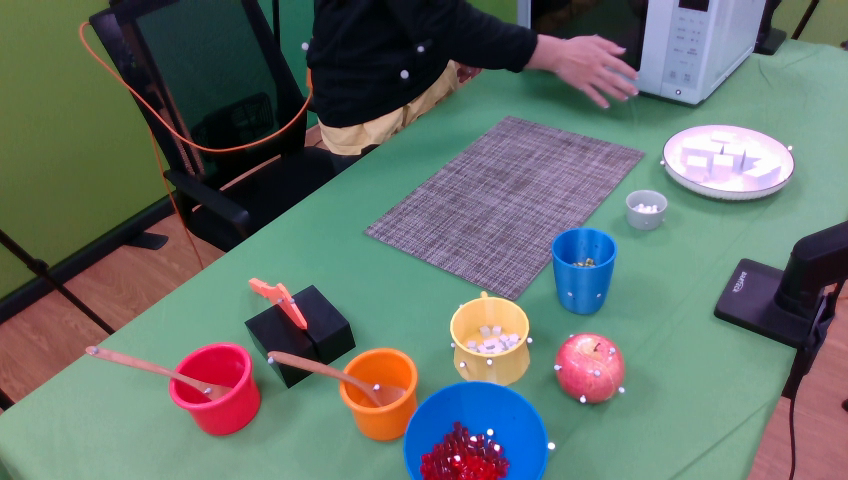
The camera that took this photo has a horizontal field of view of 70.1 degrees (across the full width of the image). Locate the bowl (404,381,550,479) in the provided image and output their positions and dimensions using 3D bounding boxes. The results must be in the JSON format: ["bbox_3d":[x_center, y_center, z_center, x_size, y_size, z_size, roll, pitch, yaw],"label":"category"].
[{"bbox_3d":[0.058,0.235,0.645,0.151,0.077,0.150,-4,39,4],"label":"bowl"}]

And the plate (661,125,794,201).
[{"bbox_3d":[0.513,-0.128,1.035,0.207,0.039,0.206,-4,40,4],"label":"plate"}]

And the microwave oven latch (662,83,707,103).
[{"bbox_3d":[0.517,-0.296,1.204,0.078,0.029,0.030,28,52,35],"label":"microwave oven latch"}]

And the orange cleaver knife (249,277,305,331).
[{"bbox_3d":[-0.210,0.088,0.855,0.012,0.077,0.210,-28,15,-25],"label":"orange cleaver knife"}]

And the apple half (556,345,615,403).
[{"bbox_3d":[0.181,0.167,0.709,0.080,0.081,0.033,29,50,35],"label":"apple half"}]

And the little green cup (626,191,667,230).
[{"bbox_3d":[0.352,-0.046,0.963,0.061,0.039,0.061,-4,40,4],"label":"little green cup"}]

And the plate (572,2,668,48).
[{"bbox_3d":[0.440,-0.482,1.367,0.209,0.038,0.208,-4,41,4],"label":"plate"}]

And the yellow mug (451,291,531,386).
[{"bbox_3d":[0.086,0.120,0.786,0.100,0.064,0.130,-7,39,1],"label":"yellow mug"}]

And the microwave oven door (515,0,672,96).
[{"bbox_3d":[0.344,-0.455,1.260,0.353,0.245,0.039,26,51,33],"label":"microwave oven door"}]

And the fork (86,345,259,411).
[{"bbox_3d":[-0.298,0.166,0.728,0.209,0.018,0.028,28,46,-23],"label":"fork"}]

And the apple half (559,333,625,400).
[{"bbox_3d":[0.209,0.147,0.730,0.080,0.075,0.053,26,47,38],"label":"apple half"}]

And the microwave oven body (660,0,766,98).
[{"bbox_3d":[0.472,-0.513,1.317,0.438,0.261,0.327,26,51,34],"label":"microwave oven body"}]

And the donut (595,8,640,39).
[{"bbox_3d":[0.436,-0.488,1.359,0.099,0.048,0.098,-11,34,9],"label":"donut"}]

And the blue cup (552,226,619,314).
[{"bbox_3d":[0.218,0.047,0.826,0.092,0.101,0.092,-6,40,6],"label":"blue cup"}]

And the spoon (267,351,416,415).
[{"bbox_3d":[-0.091,0.162,0.699,0.021,0.195,0.041,-45,30,26],"label":"spoon"}]
